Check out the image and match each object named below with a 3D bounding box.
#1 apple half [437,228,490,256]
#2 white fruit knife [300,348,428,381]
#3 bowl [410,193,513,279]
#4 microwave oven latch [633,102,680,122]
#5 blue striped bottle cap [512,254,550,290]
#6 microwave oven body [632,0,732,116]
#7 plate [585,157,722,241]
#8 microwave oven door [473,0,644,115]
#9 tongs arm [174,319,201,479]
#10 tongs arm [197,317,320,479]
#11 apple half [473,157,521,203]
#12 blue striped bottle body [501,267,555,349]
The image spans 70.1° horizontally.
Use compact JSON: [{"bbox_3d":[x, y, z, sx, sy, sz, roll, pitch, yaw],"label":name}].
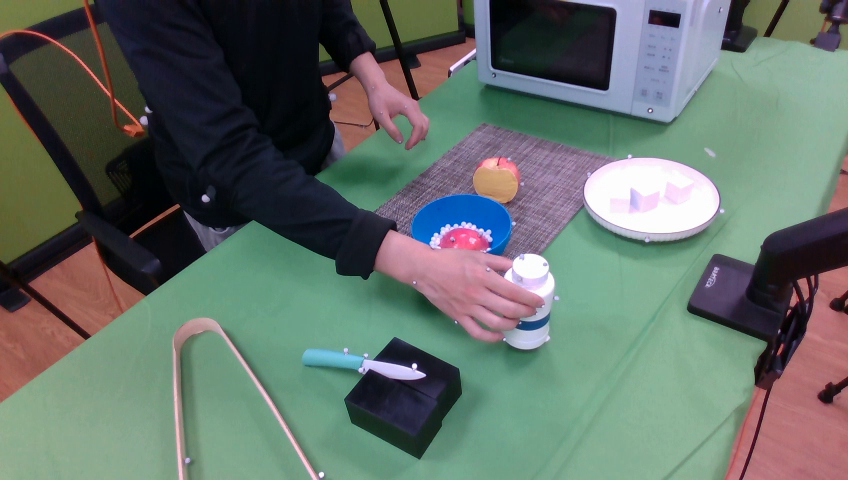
[{"bbox_3d":[0.056,0.002,0.902,0.081,0.033,0.081,-3,40,3],"label":"apple half"},{"bbox_3d":[-0.080,0.154,0.748,0.206,0.027,0.016,0,19,34],"label":"white fruit knife"},{"bbox_3d":[0.058,0.004,0.905,0.151,0.077,0.150,-3,40,3],"label":"bowl"},{"bbox_3d":[0.444,-0.249,1.157,0.078,0.029,0.030,21,49,30],"label":"microwave oven latch"},{"bbox_3d":[0.127,0.037,0.719,0.044,0.021,0.044,-2,38,2],"label":"blue striped bottle cap"},{"bbox_3d":[0.377,-0.462,1.267,0.438,0.261,0.327,21,48,30],"label":"microwave oven body"},{"bbox_3d":[0.367,-0.063,0.979,0.207,0.039,0.206,-4,40,4],"label":"plate"},{"bbox_3d":[0.257,-0.396,1.199,0.353,0.245,0.039,21,48,29],"label":"microwave oven door"},{"bbox_3d":[-0.272,0.234,0.723,0.051,0.026,0.381,-18,40,-15],"label":"tongs arm"},{"bbox_3d":[-0.199,0.207,0.751,0.028,0.028,0.384,-31,45,-22],"label":"tongs arm"},{"bbox_3d":[0.128,-0.107,1.030,0.080,0.075,0.053,4,38,19],"label":"apple half"},{"bbox_3d":[0.128,0.076,0.754,0.063,0.121,0.063,-2,41,2],"label":"blue striped bottle body"}]
